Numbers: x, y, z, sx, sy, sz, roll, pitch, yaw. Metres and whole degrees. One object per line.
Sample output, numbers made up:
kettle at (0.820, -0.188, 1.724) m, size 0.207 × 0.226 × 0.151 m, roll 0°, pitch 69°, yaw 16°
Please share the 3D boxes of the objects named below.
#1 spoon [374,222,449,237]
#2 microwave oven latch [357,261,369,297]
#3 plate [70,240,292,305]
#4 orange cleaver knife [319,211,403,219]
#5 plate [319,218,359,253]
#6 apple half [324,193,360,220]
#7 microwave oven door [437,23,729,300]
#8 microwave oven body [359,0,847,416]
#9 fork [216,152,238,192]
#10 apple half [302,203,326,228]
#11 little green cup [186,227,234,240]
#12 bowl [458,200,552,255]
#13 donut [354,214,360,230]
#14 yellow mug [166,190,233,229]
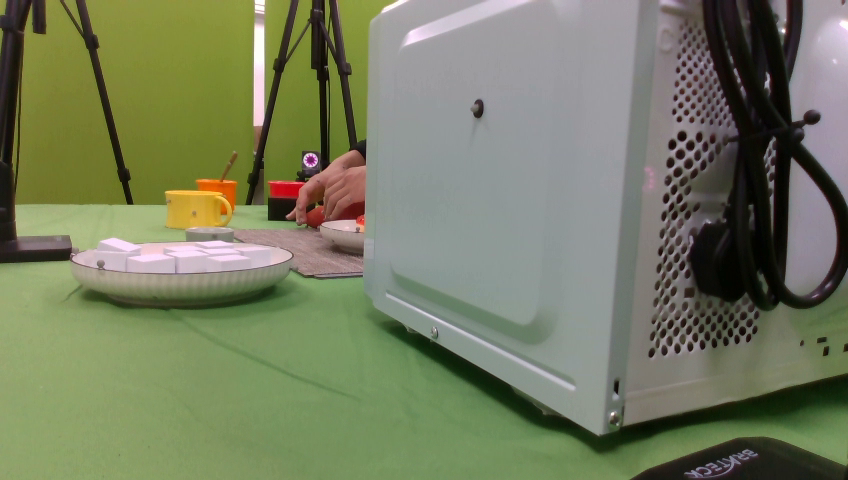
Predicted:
spoon at (-0.028, -0.025, 1.178) m, size 0.193 × 0.021 × 0.042 m, roll 9°, pitch 27°, yaw 41°
microwave oven latch at (-0.019, 0.033, 0.530) m, size 0.079 × 0.029 × 0.030 m, roll -1°, pitch 7°, yaw -27°
plate at (-0.242, 0.032, 0.618) m, size 0.208 × 0.039 × 0.207 m, roll 2°, pitch 8°, yaw 0°
orange cleaver knife at (-0.142, -0.056, 1.394) m, size 0.077 × 0.012 × 0.212 m, roll 4°, pitch 8°, yaw 44°
plate at (-0.059, -0.007, 0.939) m, size 0.209 × 0.038 × 0.209 m, roll 3°, pitch 8°, yaw 0°
apple half at (-0.136, -0.047, 1.092) m, size 0.081 × 0.074 × 0.053 m, roll 2°, pitch 10°, yaw -24°
microwave oven door at (0.181, -0.072, 0.621) m, size 0.358 × 0.243 × 0.039 m, roll -2°, pitch 9°, yaw -29°
microwave oven body at (0.211, -0.047, 0.474) m, size 0.444 × 0.260 × 0.324 m, roll -1°, pitch 7°, yaw -28°
fork at (-0.455, -0.132, 1.367) m, size 0.028 × 0.018 × 0.207 m, roll -2°, pitch -35°, yaw -37°
apple half at (-0.194, -0.043, 1.172) m, size 0.081 × 0.032 × 0.081 m, roll -18°, pitch -15°, yaw -5°
little green cup at (-0.284, 0.005, 0.805) m, size 0.061 × 0.038 × 0.061 m, roll 2°, pitch 8°, yaw 0°
bowl at (0.128, -0.020, 0.978) m, size 0.151 × 0.077 × 0.151 m, roll 2°, pitch 8°, yaw 0°
donut at (-0.062, -0.020, 0.955) m, size 0.099 × 0.048 × 0.099 m, roll 5°, pitch 7°, yaw 0°
yellow mug at (-0.415, -0.057, 1.132) m, size 0.130 × 0.064 × 0.100 m, roll 6°, pitch 8°, yaw 16°
